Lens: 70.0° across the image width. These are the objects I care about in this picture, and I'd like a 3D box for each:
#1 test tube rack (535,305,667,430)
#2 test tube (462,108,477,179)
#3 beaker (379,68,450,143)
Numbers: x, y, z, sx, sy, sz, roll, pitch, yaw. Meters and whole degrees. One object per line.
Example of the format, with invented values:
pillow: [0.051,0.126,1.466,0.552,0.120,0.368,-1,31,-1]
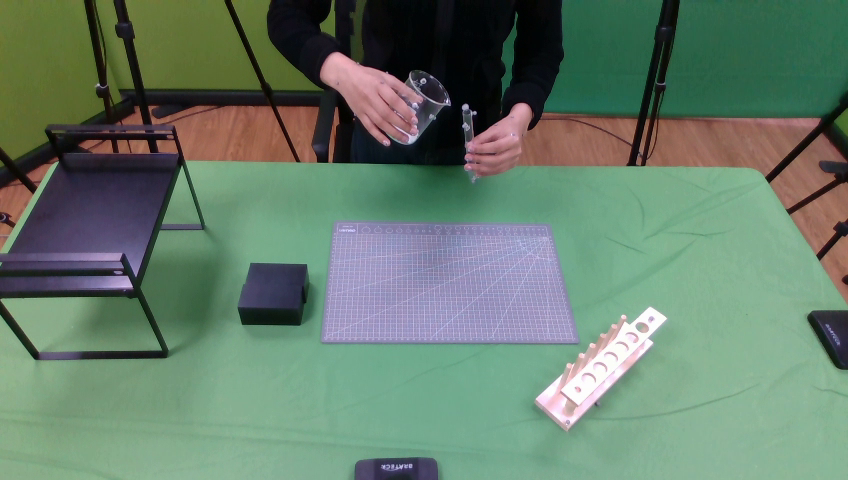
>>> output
test tube rack: [0.290,0.193,0.984,0.242,0.085,0.066,-32,56,-30]
test tube: [0.077,-0.159,1.023,0.017,0.151,0.017,-5,49,6]
beaker: [-0.017,-0.209,0.967,0.084,0.100,0.073,27,40,-21]
